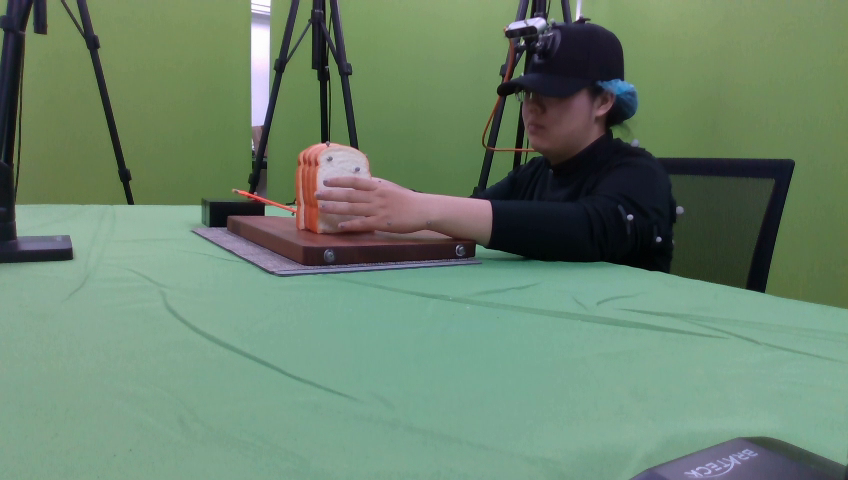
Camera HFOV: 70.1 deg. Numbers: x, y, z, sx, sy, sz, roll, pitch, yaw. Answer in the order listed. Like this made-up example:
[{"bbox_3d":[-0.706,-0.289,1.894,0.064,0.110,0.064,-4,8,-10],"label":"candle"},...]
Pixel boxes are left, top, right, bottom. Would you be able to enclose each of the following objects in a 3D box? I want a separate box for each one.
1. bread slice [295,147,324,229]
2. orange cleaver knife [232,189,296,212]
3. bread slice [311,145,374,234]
[{"bbox_3d":[-0.157,-0.082,0.959,0.105,0.131,0.019,-1,-2,-43],"label":"bread slice"},{"bbox_3d":[-0.279,-0.066,1.219,0.212,0.012,0.077,19,-3,-22],"label":"orange cleaver knife"},{"bbox_3d":[-0.127,-0.076,0.919,0.107,0.134,0.018,-8,7,-41],"label":"bread slice"}]
